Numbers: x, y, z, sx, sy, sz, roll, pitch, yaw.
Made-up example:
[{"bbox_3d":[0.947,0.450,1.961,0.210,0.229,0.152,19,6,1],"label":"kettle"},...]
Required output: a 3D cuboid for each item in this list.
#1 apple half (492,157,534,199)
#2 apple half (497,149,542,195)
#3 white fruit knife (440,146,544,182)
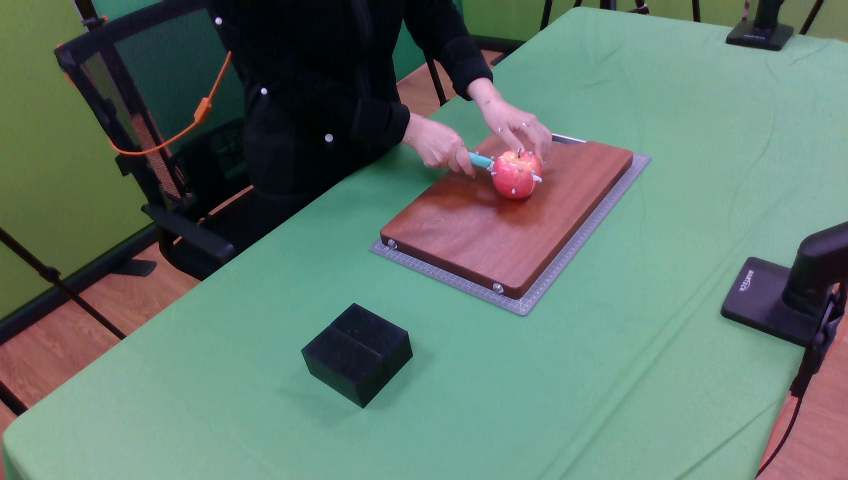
[{"bbox_3d":[0.140,-0.093,0.985,0.080,0.081,0.033,20,50,31],"label":"apple half"},{"bbox_3d":[0.163,-0.116,1.009,0.080,0.075,0.053,17,42,33],"label":"apple half"},{"bbox_3d":[0.109,-0.127,1.010,0.206,0.027,0.016,20,54,32],"label":"white fruit knife"}]
